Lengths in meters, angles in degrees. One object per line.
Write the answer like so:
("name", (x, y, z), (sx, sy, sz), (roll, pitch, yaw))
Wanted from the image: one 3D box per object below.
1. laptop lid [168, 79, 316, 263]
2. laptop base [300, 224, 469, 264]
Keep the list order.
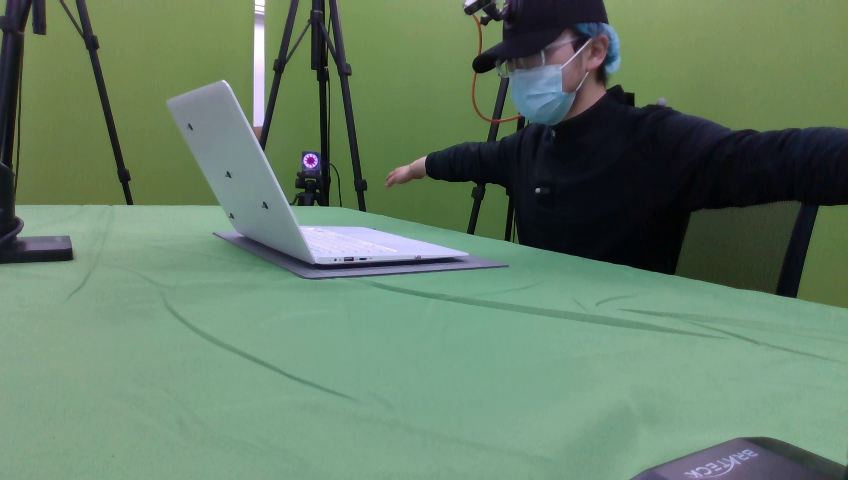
("laptop lid", (-0.264, -0.093, 0.831), (0.013, 0.242, 0.355), (-33, 25, -25))
("laptop base", (-0.124, 0.004, 0.936), (0.237, 0.023, 0.352), (2, 6, -33))
